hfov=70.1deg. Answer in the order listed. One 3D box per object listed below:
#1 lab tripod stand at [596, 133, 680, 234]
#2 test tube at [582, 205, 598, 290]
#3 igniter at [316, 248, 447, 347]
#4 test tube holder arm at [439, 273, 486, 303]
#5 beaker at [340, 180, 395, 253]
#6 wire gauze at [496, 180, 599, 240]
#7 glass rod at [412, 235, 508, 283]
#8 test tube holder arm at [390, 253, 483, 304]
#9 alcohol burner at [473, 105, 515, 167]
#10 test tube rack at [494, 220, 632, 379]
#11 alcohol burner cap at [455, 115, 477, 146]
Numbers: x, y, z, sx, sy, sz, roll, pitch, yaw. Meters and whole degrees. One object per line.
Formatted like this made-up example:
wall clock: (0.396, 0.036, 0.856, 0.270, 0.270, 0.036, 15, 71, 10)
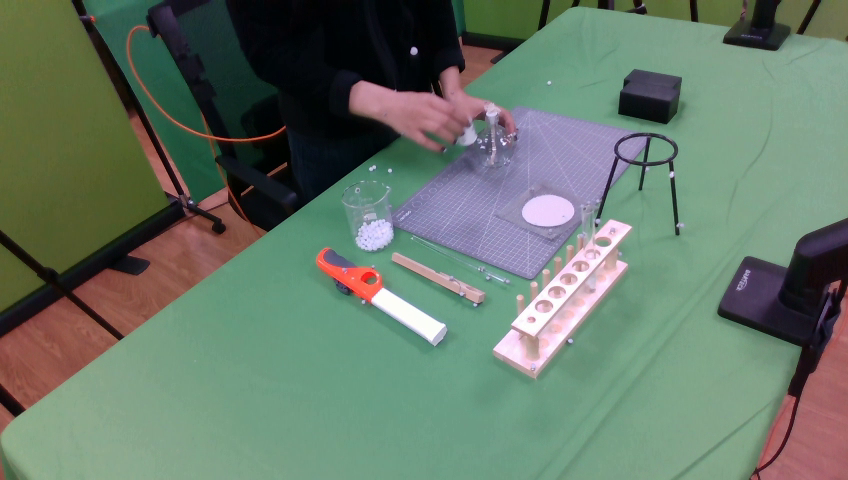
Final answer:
lab tripod stand: (0.338, -0.090, 0.940, 0.148, 0.132, 0.147, -7, 39, 6)
test tube: (0.220, 0.014, 0.798, 0.017, 0.151, 0.017, -9, 43, 9)
igniter: (-0.074, 0.079, 0.901, 0.274, 0.025, 0.057, 29, 64, 36)
test tube holder arm: (0.053, 0.070, 0.896, 0.087, 0.015, 0.010, 24, 16, 34)
beaker: (-0.086, -0.037, 0.985, 0.084, 0.101, 0.073, -18, 41, -11)
wire gauze: (0.206, -0.050, 1.012, 0.125, 0.011, 0.120, -34, 45, -26)
glass rod: (0.051, 0.028, 0.951, 0.198, 0.008, 0.008, 25, 52, 37)
test tube holder arm: (0.016, 0.055, 0.916, 0.177, 0.015, 0.013, 24, 16, 33)
alcohol burner: (0.128, -0.196, 1.116, 0.078, 0.119, 0.077, -4, 39, 4)
test tube rack: (0.191, 0.068, 0.818, 0.066, 0.085, 0.243, 25, 51, 35)
alcohol burner cap: (0.067, -0.182, 0.992, 0.034, 0.048, 0.033, -9, 47, 10)
